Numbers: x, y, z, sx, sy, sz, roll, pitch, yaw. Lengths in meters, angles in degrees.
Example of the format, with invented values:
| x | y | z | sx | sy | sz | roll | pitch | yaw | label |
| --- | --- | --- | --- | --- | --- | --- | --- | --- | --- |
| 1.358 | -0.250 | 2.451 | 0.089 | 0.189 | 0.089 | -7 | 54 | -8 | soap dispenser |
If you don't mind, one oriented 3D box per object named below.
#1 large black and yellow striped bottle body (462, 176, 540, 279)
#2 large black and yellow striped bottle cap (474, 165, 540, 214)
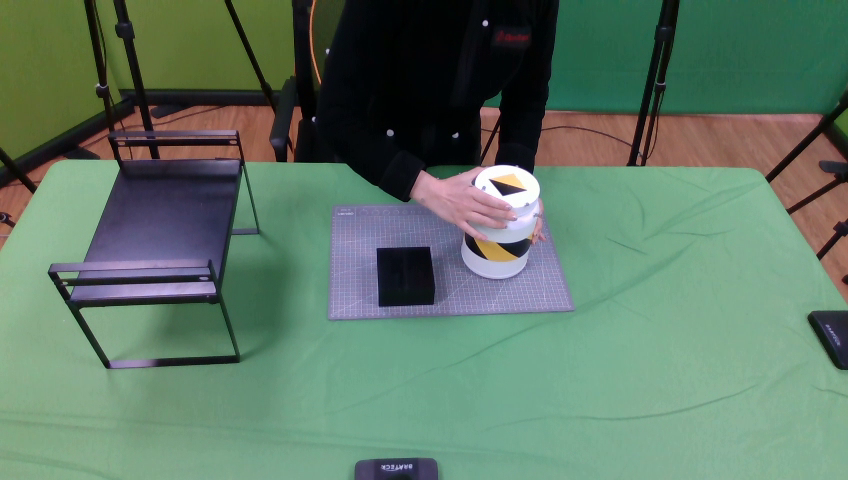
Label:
| x | y | z | sx | sy | sz | roll | pitch | yaw | label |
| --- | --- | --- | --- | --- | --- | --- | --- | --- | --- |
| 0.142 | -0.032 | 1.121 | 0.131 | 0.185 | 0.130 | 2 | 46 | -1 | large black and yellow striped bottle body |
| 0.145 | -0.090 | 1.060 | 0.115 | 0.019 | 0.114 | 3 | 45 | -3 | large black and yellow striped bottle cap |
